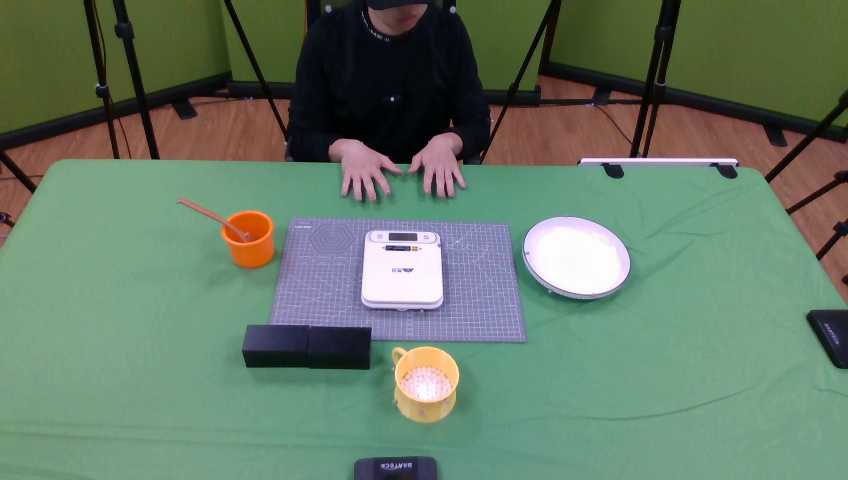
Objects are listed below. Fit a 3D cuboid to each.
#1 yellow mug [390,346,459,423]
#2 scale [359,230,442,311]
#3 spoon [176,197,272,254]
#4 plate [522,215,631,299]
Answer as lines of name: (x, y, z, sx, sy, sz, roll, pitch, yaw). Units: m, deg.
yellow mug: (-0.009, 0.217, 0.958, 0.100, 0.064, 0.130, -33, 56, -31)
scale: (-0.043, 0.048, 1.138, 0.149, 0.032, 0.199, 2, 46, -3)
spoon: (-0.362, -0.028, 1.108, 0.021, 0.195, 0.041, -35, 36, 24)
plate: (0.292, 0.035, 1.175, 0.209, 0.038, 0.208, 2, 46, -2)
